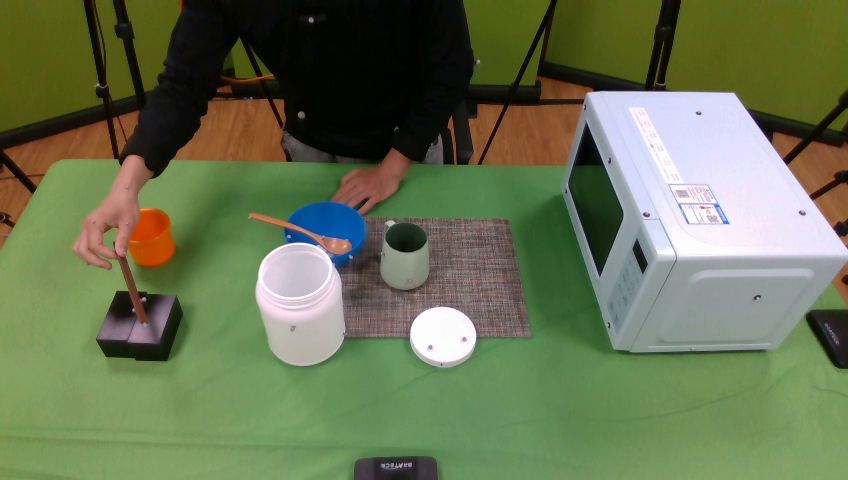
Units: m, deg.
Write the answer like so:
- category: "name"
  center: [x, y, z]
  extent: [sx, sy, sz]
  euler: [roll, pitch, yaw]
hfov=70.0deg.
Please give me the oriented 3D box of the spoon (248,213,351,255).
- category: "spoon"
  center: [-0.228, -0.014, 1.113]
  extent: [0.194, 0.022, 0.041]
  euler: [23, 39, -15]

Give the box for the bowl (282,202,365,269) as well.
- category: "bowl"
  center: [-0.185, 0.006, 1.137]
  extent: [0.151, 0.077, 0.150]
  euler: [3, 46, -3]

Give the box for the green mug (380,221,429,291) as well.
- category: "green mug"
  center: [-0.043, 0.020, 1.116]
  extent: [0.092, 0.105, 0.124]
  euler: [-20, 50, -21]

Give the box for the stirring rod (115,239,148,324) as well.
- category: "stirring rod"
  center: [-0.454, 0.061, 0.939]
  extent: [0.006, 0.014, 0.175]
  euler: [-42, 57, 11]

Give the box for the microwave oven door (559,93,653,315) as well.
- category: "microwave oven door"
  center: [0.327, -0.074, 1.123]
  extent: [0.039, 0.245, 0.353]
  euler: [-1, 46, -5]

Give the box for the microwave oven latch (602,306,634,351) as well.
- category: "microwave oven latch"
  center: [0.332, 0.153, 1.044]
  extent: [0.030, 0.029, 0.078]
  euler: [-1, 45, -4]

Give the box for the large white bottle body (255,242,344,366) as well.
- category: "large white bottle body"
  center: [-0.196, 0.102, 0.967]
  extent: [0.131, 0.185, 0.130]
  euler: [2, 49, -2]

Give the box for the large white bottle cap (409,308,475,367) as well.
- category: "large white bottle cap"
  center: [0.031, 0.166, 1.041]
  extent: [0.115, 0.018, 0.114]
  euler: [2, 47, -2]

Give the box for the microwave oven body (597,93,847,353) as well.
- category: "microwave oven body"
  center: [0.475, -0.041, 1.109]
  extent: [0.326, 0.261, 0.438]
  euler: [-1, 45, -4]
